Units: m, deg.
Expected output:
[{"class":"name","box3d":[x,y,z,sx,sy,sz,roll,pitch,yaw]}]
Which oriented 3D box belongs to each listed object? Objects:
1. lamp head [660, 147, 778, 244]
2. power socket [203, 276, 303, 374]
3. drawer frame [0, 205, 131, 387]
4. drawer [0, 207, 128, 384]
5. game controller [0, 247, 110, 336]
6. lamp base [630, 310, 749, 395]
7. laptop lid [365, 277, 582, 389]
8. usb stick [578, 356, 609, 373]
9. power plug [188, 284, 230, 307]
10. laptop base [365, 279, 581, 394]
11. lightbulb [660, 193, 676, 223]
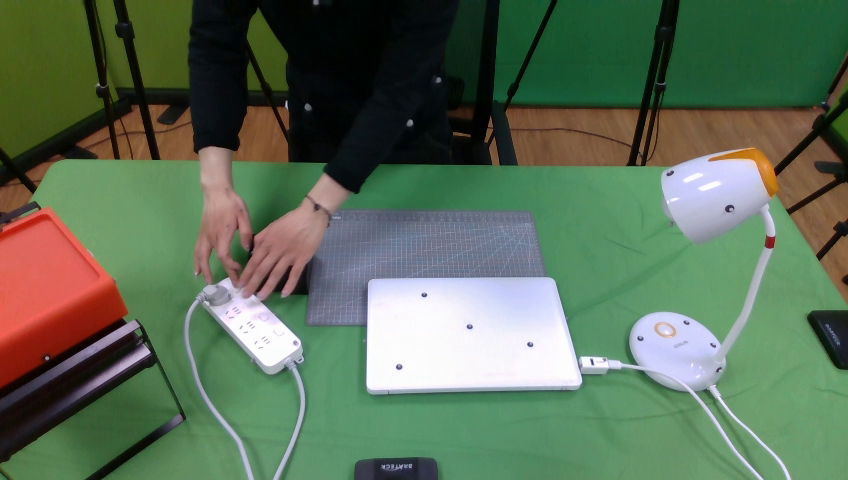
[{"class":"lamp head","box3d":[0.389,-0.063,0.784,0.123,0.113,0.112,-22,33,37]},{"class":"power socket","box3d":[-0.296,0.141,1.033,0.072,0.033,0.225,-34,58,-31]},{"class":"drawer frame","box3d":[-0.539,0.075,0.795,0.200,0.083,0.213,36,54,26]},{"class":"drawer","box3d":[-0.539,0.074,0.798,0.193,0.073,0.211,37,55,27]},{"class":"game controller","box3d":[-0.511,0.063,0.830,0.097,0.052,0.154,-29,57,-33]},{"class":"lamp base","box3d":[0.447,0.142,0.984,0.161,0.181,0.178,-24,55,-24]},{"class":"laptop lid","box3d":[0.077,0.152,1.046,0.357,0.013,0.240,1,45,-3]},{"class":"usb stick","box3d":[0.274,0.207,1.007,0.059,0.027,0.021,0,52,0]},{"class":"power plug","box3d":[-0.368,0.100,1.036,0.072,0.053,0.035,-26,53,-24]},{"class":"laptop base","box3d":[0.076,0.162,1.053,0.355,0.023,0.234,0,44,-4]},{"class":"lightbulb","box3d":[0.369,-0.060,0.808,0.060,0.107,0.059,20,58,-36]}]
